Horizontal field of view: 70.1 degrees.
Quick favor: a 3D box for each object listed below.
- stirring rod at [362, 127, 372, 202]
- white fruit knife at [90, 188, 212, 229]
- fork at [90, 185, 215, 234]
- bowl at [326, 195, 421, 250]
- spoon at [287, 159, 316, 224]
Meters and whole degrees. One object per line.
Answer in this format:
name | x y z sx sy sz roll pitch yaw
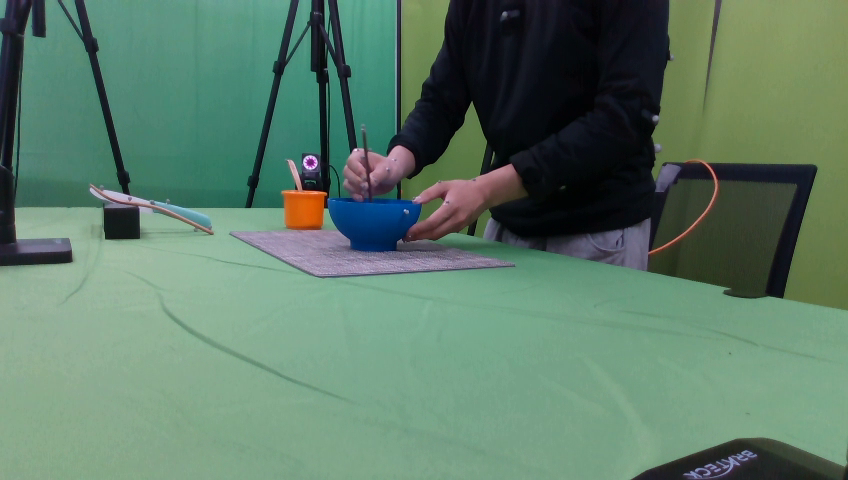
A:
stirring rod | -0.086 -0.090 0.945 0.006 0.176 0.014 -10 28 -13
white fruit knife | -0.478 -0.058 1.073 0.208 0.027 0.016 17 -4 -30
fork | -0.452 -0.049 1.018 0.208 0.018 0.028 21 -7 -33
bowl | -0.080 -0.027 0.958 0.151 0.077 0.151 2 7 0
spoon | -0.261 -0.104 1.264 0.042 0.193 0.021 0 -37 -28
